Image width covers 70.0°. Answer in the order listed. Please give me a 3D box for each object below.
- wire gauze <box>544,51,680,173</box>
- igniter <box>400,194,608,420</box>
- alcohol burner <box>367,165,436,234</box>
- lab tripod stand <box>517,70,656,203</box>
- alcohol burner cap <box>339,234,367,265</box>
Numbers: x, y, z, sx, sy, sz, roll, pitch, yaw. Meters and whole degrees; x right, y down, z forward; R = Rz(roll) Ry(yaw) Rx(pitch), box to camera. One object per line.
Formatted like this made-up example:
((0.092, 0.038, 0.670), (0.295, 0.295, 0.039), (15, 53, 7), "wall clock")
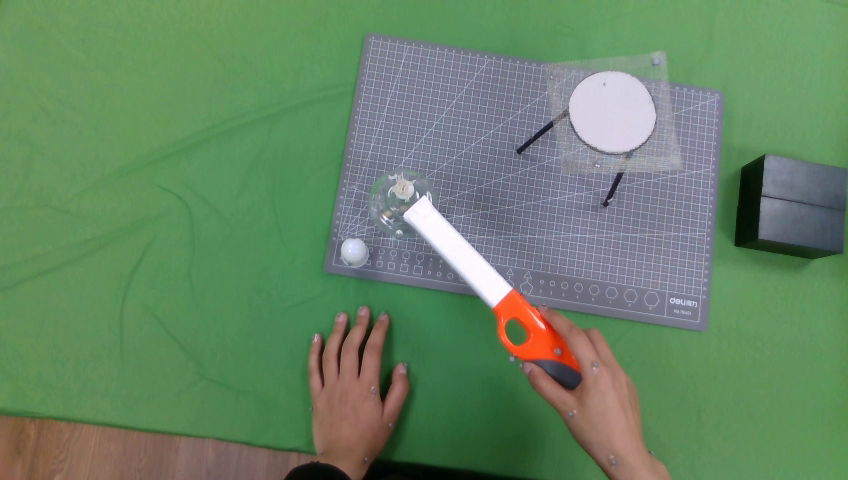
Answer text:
((0.187, -0.126, 0.600), (0.125, 0.011, 0.121), (-4, 81, -3), "wire gauze")
((0.081, 0.064, 0.594), (0.057, 0.025, 0.276), (-43, 87, -12), "igniter")
((-0.024, -0.047, 0.655), (0.078, 0.119, 0.077), (1, 82, -3), "alcohol burner")
((0.186, -0.122, 0.668), (0.148, 0.132, 0.147), (0, 79, -2), "lab tripod stand")
((-0.081, 0.009, 0.679), (0.034, 0.048, 0.033), (0, 81, -3), "alcohol burner cap")
